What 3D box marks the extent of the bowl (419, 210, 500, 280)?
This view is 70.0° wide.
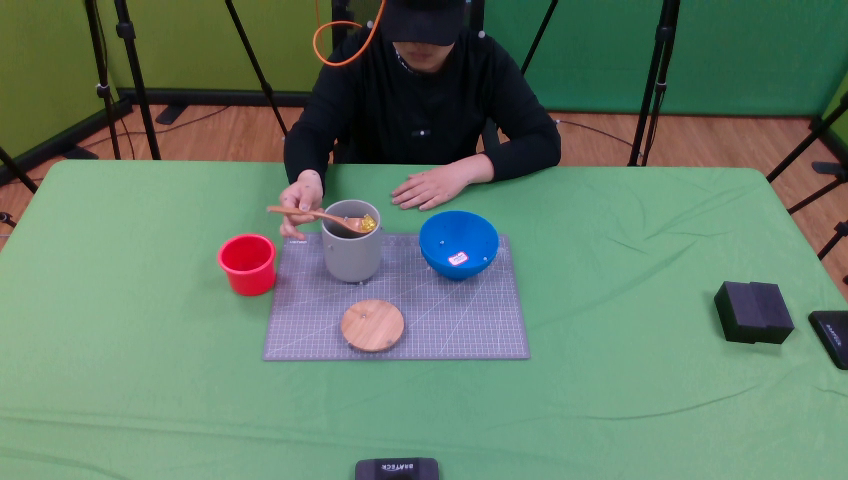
[{"bbox_3d":[0.062,0.022,1.141,0.151,0.077,0.150,2,46,-2],"label":"bowl"}]

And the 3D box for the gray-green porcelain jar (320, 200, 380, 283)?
[{"bbox_3d":[-0.132,0.007,1.106,0.106,0.127,0.105,2,46,-2],"label":"gray-green porcelain jar"}]

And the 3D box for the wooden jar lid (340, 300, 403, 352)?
[{"bbox_3d":[-0.090,0.150,1.046,0.108,0.021,0.107,3,47,-3],"label":"wooden jar lid"}]

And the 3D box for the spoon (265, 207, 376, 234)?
[{"bbox_3d":[-0.177,-0.040,1.052,0.194,0.022,0.041,12,40,-24],"label":"spoon"}]
